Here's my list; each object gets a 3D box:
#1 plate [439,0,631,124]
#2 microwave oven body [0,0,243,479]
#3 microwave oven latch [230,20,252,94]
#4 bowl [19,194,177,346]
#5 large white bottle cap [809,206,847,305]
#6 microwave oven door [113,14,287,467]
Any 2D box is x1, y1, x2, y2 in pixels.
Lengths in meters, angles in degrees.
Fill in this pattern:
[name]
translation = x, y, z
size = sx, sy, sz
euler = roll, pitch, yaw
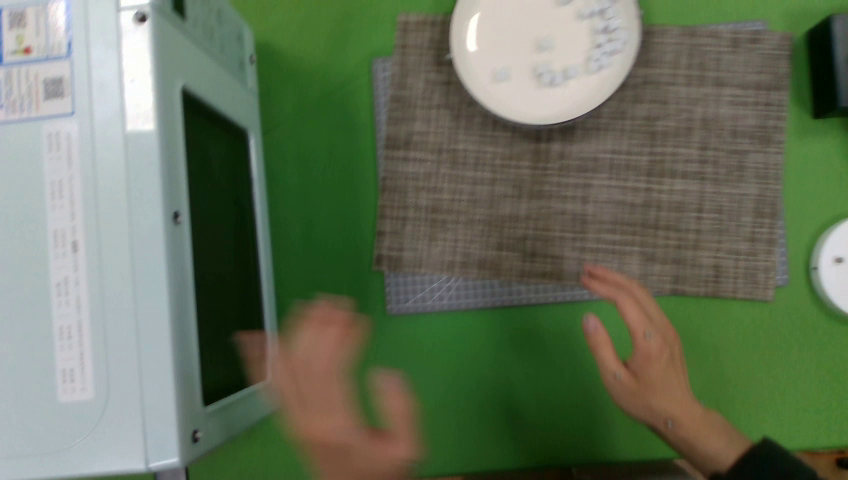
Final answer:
[plate]
translation = 0.122, -0.230, 0.683
size = 0.209, 0.038, 0.208
euler = 0, 86, 5
[microwave oven body]
translation = -0.353, -0.020, 0.600
size = 0.326, 0.260, 0.441
euler = -7, 88, 4
[microwave oven latch]
translation = -0.218, -0.207, 0.694
size = 0.030, 0.029, 0.079
euler = -8, 88, 4
[bowl]
translation = -0.319, 0.031, 0.627
size = 0.151, 0.077, 0.151
euler = 0, 87, 3
[large white bottle cap]
translation = 0.482, 0.017, 0.659
size = 0.115, 0.018, 0.114
euler = 0, 88, 3
[microwave oven door]
translation = -0.204, 0.004, 0.583
size = 0.039, 0.244, 0.355
euler = -7, 87, 5
